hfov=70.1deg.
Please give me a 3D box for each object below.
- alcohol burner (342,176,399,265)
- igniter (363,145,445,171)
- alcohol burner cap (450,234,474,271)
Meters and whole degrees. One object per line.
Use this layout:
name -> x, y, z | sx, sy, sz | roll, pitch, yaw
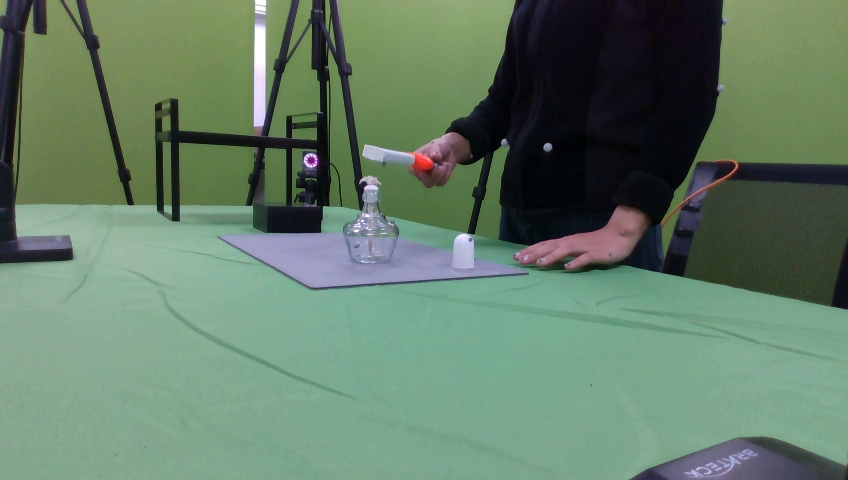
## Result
alcohol burner -> -0.072, -0.027, 0.818 | 0.078, 0.119, 0.078 | 0, 6, 0
igniter -> -0.023, -0.126, 0.943 | 0.057, 0.025, 0.277 | 18, 9, 17
alcohol burner cap -> 0.052, 0.015, 0.809 | 0.034, 0.048, 0.034 | 5, 9, 0
